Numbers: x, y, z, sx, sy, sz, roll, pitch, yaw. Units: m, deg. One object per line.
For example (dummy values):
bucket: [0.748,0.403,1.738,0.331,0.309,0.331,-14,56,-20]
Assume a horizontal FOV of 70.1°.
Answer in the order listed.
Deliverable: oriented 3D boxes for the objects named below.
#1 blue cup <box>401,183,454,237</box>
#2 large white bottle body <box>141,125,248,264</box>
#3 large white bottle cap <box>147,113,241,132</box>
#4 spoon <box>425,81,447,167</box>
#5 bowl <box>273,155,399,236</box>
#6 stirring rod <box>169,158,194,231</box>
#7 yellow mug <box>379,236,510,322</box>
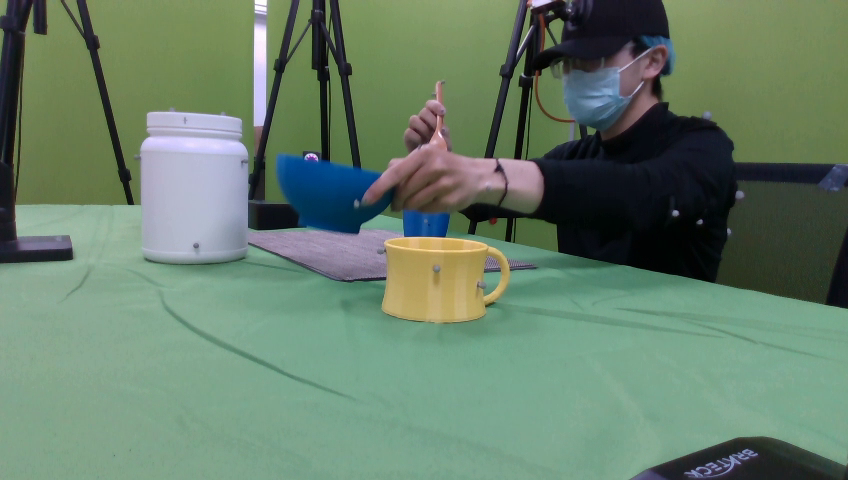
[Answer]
blue cup: [0.003,-0.038,0.966,0.093,0.100,0.092,4,8,0]
large white bottle body: [-0.300,-0.068,0.797,0.131,0.184,0.130,2,7,0]
large white bottle cap: [-0.297,-0.151,0.786,0.115,0.018,0.115,2,7,0]
spoon: [0.022,-0.198,1.012,0.041,0.193,0.022,-24,-45,31]
bowl: [-0.110,-0.049,0.723,0.151,0.077,0.151,10,4,0]
stirring rod: [-0.424,-0.082,1.060,0.014,0.006,0.175,2,50,-10]
yellow mug: [0.024,0.034,0.575,0.131,0.064,0.099,1,7,-22]
